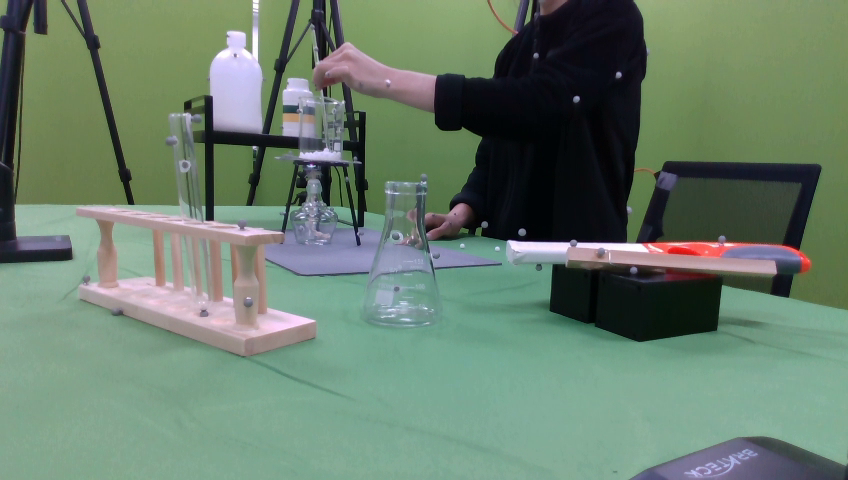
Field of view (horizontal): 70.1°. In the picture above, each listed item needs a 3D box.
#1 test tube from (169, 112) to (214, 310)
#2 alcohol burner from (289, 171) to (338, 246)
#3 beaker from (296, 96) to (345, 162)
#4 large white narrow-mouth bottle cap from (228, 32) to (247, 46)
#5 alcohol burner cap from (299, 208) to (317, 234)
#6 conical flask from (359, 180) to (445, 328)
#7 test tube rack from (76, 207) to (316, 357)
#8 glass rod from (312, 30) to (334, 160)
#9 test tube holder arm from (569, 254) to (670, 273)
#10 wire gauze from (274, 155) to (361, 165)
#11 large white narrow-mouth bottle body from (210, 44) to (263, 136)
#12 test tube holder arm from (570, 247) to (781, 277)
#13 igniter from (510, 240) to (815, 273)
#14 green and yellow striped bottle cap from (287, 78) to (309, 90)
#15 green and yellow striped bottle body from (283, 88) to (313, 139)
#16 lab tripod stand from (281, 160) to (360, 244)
[{"bbox_3d":[-0.175,-0.020,0.455,0.017,0.150,0.017,-3,9,1],"label":"test tube"},{"bbox_3d":[-0.177,-0.051,0.968,0.078,0.119,0.078,1,6,0],"label":"alcohol burner"},{"bbox_3d":[-0.163,-0.175,0.966,0.083,0.100,0.074,8,8,34],"label":"beaker"},{"bbox_3d":[-0.364,-0.390,1.180,0.038,0.024,0.037,3,8,0],"label":"large white narrow-mouth bottle cap"},{"bbox_3d":[-0.213,-0.035,1.109,0.034,0.048,0.034,2,7,0],"label":"alcohol burner cap"},{"bbox_3d":[-0.017,0.010,0.522,0.075,0.122,0.075,2,7,0],"label":"conical flask"},{"bbox_3d":[-0.196,0.023,0.499,0.241,0.085,0.067,8,9,36],"label":"test tube rack"},{"bbox_3d":[-0.158,-0.224,0.945,0.008,0.199,0.008,-6,12,2],"label":"glass rod"},{"bbox_3d":[0.172,0.019,0.532,0.088,0.015,0.010,3,-23,4],"label":"test tube holder arm"},{"bbox_3d":[-0.174,-0.129,0.978,0.125,0.011,0.121,-2,6,-19],"label":"wire gauze"},{"bbox_3d":[-0.369,-0.305,1.194,0.102,0.194,0.102,3,8,0],"label":"large white narrow-mouth bottle body"},{"bbox_3d":[0.217,0.019,0.524,0.178,0.015,0.013,3,-23,3],"label":"test tube holder arm"},{"bbox_3d":[0.220,0.015,0.566,0.277,0.025,0.057,2,16,0],"label":"igniter"},{"bbox_3d":[-0.265,-0.326,1.268,0.045,0.020,0.045,4,6,0],"label":"green and yellow striped bottle cap"},{"bbox_3d":[-0.265,-0.275,1.275,0.063,0.119,0.063,3,7,0],"label":"green and yellow striped bottle body"},{"bbox_3d":[-0.170,-0.063,0.983,0.148,0.131,0.148,1,6,0],"label":"lab tripod stand"}]
